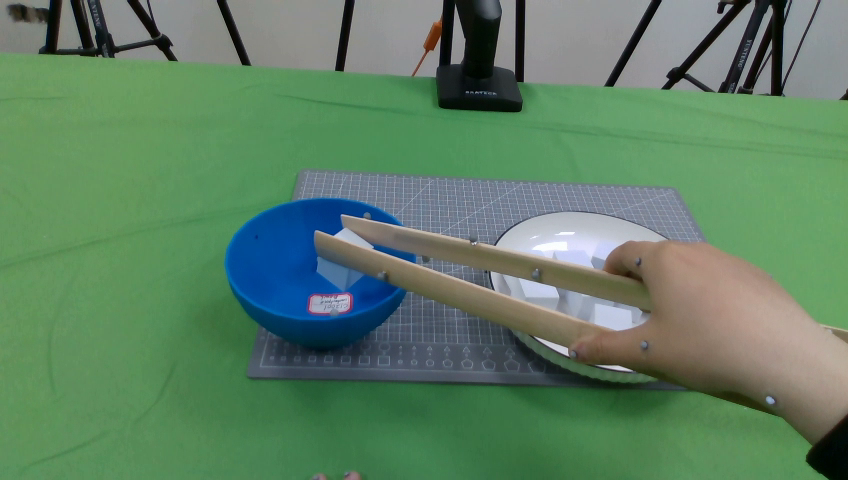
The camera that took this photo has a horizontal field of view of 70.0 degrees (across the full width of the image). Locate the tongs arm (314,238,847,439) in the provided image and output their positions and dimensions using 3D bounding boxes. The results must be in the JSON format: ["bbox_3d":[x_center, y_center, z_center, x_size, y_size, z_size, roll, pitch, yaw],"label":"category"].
[{"bbox_3d":[0.084,0.053,0.392,0.385,0.028,0.028,15,36,25],"label":"tongs arm"}]

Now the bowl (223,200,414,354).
[{"bbox_3d":[-0.085,0.041,0.506,0.151,0.077,0.150,4,39,-3],"label":"bowl"}]

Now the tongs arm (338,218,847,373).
[{"bbox_3d":[0.096,0.040,0.408,0.382,0.027,0.050,12,38,22],"label":"tongs arm"}]

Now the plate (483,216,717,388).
[{"bbox_3d":[0.155,0.054,0.552,0.208,0.039,0.205,4,39,-3],"label":"plate"}]
